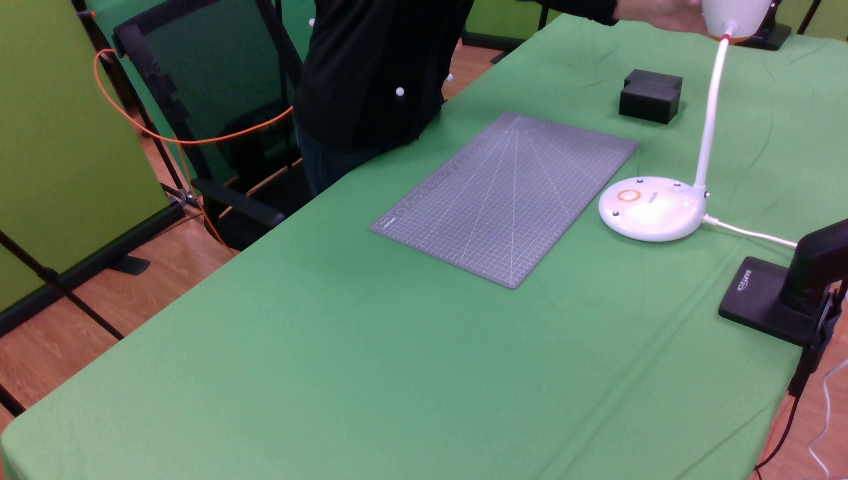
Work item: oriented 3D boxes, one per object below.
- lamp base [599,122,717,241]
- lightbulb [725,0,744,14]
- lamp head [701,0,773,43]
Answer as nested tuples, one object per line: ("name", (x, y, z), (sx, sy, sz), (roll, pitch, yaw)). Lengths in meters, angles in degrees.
("lamp base", (0.367, -0.109, 0.919), (0.178, 0.181, 0.160), (13, 45, 20))
("lightbulb", (0.470, -0.393, 0.904), (0.059, 0.108, 0.059), (-8, 34, 6))
("lamp head", (0.474, -0.363, 0.918), (0.112, 0.123, 0.112), (-7, 33, 5))
